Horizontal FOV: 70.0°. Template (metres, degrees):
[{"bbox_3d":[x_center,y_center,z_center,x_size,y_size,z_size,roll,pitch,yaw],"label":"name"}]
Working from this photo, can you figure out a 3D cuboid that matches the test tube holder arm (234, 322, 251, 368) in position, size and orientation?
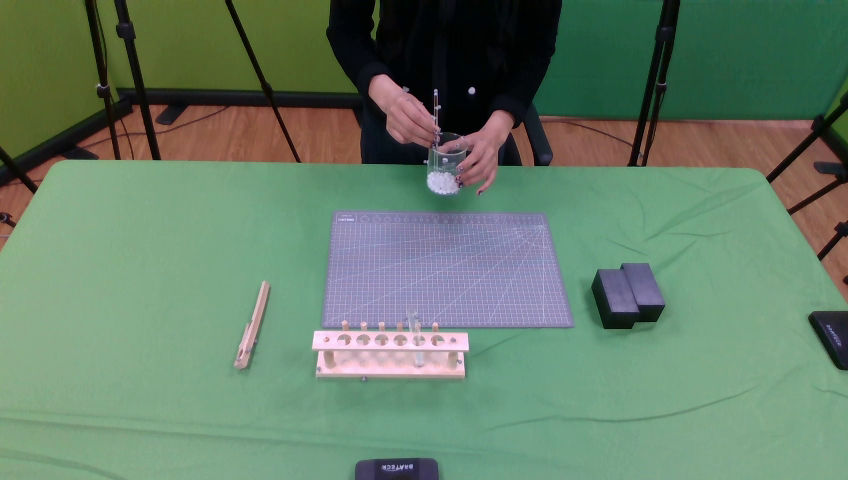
[{"bbox_3d":[-0.299,0.173,1.013,0.010,0.015,0.087,-17,42,22],"label":"test tube holder arm"}]

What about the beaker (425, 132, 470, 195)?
[{"bbox_3d":[0.039,-0.143,1.143,0.084,0.101,0.073,14,43,10],"label":"beaker"}]

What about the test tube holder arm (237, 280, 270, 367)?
[{"bbox_3d":[-0.291,0.140,1.042,0.013,0.015,0.177,-17,41,21],"label":"test tube holder arm"}]

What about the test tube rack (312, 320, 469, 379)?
[{"bbox_3d":[-0.054,0.173,0.984,0.242,0.085,0.066,1,46,-3],"label":"test tube rack"}]

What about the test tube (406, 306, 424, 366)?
[{"bbox_3d":[-0.013,0.152,0.939,0.017,0.151,0.017,-3,48,3],"label":"test tube"}]

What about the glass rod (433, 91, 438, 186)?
[{"bbox_3d":[0.021,-0.178,1.091,0.008,0.201,0.008,0,44,1],"label":"glass rod"}]
